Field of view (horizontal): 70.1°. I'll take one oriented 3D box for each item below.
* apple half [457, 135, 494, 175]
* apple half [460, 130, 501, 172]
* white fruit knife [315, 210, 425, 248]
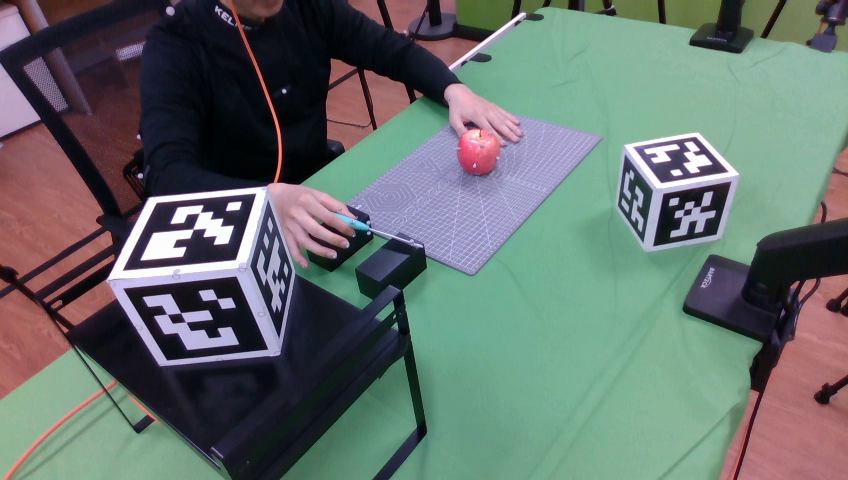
[{"bbox_3d":[0.086,-0.145,1.083,0.080,0.081,0.033,22,44,29],"label":"apple half"},{"bbox_3d":[0.109,-0.166,1.106,0.080,0.075,0.053,18,42,33],"label":"apple half"},{"bbox_3d":[-0.087,-0.017,0.926,0.206,0.027,0.016,16,81,26],"label":"white fruit knife"}]
